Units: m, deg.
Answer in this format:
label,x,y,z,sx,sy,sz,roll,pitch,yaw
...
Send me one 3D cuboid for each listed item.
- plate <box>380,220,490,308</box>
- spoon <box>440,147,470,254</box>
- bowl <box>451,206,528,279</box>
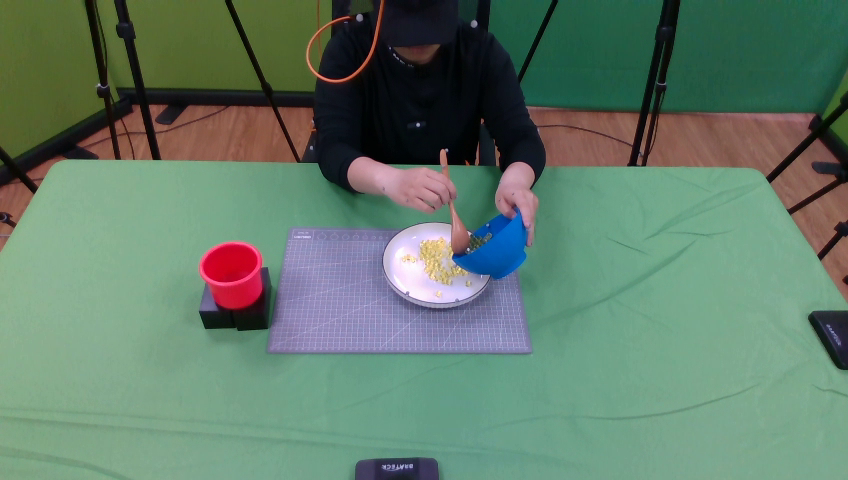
label,x,y,z,sx,sy,sz,roll,pitch,yaw
plate,0.022,0.048,1.138,0.208,0.039,0.206,2,46,-2
spoon,0.049,-0.069,1.085,0.042,0.194,0.021,-16,7,-26
bowl,0.130,0.016,1.071,0.077,0.151,0.151,52,55,-8
